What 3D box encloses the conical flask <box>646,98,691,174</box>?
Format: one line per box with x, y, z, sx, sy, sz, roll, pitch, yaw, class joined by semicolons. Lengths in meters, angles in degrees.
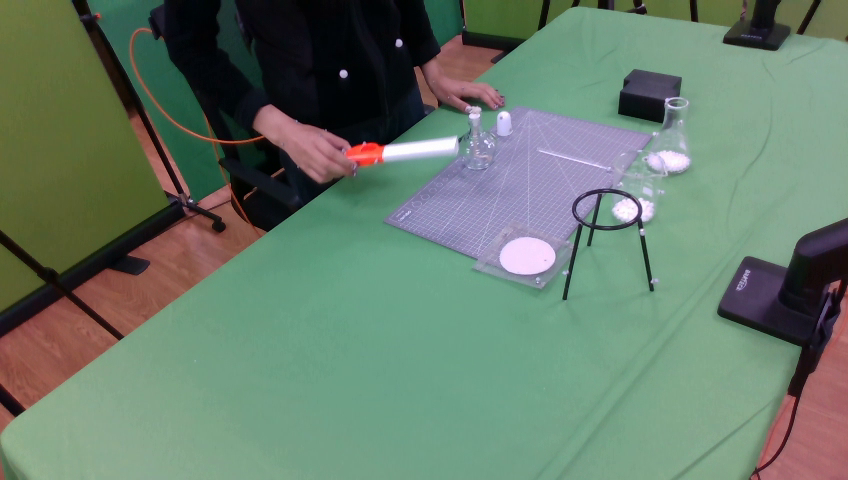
0.426;-0.180;1.037;0.075;0.122;0.075;-5;40;5;conical flask

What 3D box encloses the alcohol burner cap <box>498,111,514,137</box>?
0.163;-0.235;1.211;0.034;0.048;0.033;-6;40;6;alcohol burner cap

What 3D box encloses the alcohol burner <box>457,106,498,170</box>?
0.097;-0.191;1.117;0.078;0.119;0.077;-7;39;6;alcohol burner

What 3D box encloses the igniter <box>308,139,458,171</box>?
-0.077;-0.143;1.026;0.275;0.025;0.057;-3;45;19;igniter

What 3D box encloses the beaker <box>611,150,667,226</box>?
0.337;-0.079;0.953;0.083;0.101;0.074;25;51;33;beaker

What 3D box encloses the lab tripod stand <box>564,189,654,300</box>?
0.251;0.003;0.845;0.148;0.132;0.147;-7;39;6;lab tripod stand

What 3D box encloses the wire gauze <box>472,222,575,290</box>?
0.158;0.024;0.933;0.120;0.011;0.125;21;49;31;wire gauze

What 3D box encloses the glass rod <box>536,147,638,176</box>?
0.294;-0.145;1.104;0.198;0.008;0.008;22;50;31;glass rod
